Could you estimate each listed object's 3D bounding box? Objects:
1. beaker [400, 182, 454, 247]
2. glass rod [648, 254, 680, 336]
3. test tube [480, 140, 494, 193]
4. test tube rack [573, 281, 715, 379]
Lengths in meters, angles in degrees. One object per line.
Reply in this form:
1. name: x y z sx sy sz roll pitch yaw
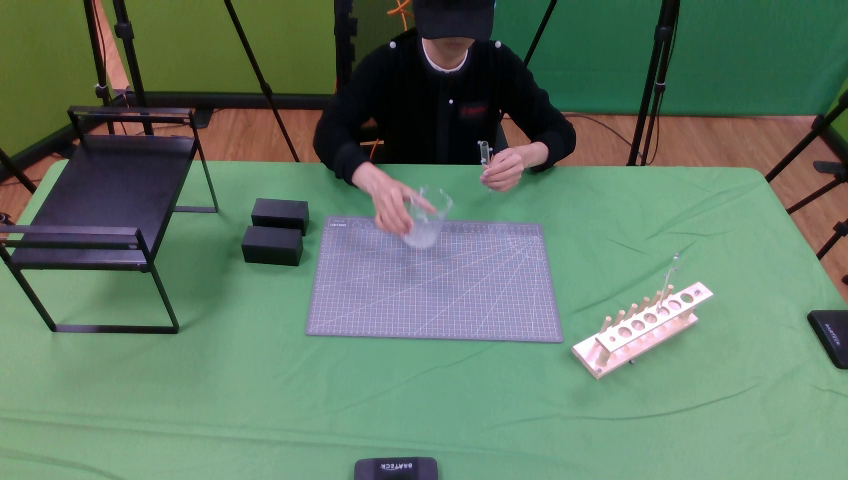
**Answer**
1. beaker: 0.002 -0.044 1.093 0.084 0.100 0.073 2 46 -19
2. glass rod: 0.390 0.094 0.991 0.008 0.201 0.008 -1 44 2
3. test tube: 0.124 -0.140 1.183 0.017 0.151 0.017 -5 57 8
4. test tube rack: 0.378 0.140 1.038 0.242 0.085 0.066 -22 51 -22
